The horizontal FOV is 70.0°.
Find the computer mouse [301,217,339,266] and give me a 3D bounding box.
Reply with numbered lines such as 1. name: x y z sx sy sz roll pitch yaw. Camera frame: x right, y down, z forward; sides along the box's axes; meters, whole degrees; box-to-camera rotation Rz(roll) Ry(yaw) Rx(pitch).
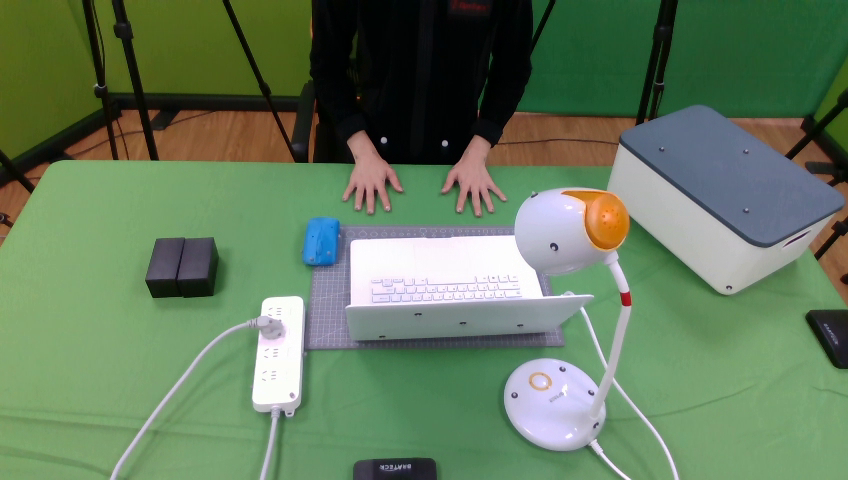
1. computer mouse: -0.200 -0.002 1.170 0.063 0.041 0.116 3 50 -3

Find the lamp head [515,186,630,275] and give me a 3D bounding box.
1. lamp head: 0.188 -0.013 0.728 0.112 0.112 0.122 -25 9 -25

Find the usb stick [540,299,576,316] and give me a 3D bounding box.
1. usb stick: 0.239 0.121 1.083 0.059 0.027 0.021 -1 51 -2

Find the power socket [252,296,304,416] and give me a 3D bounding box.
1. power socket: -0.238 0.181 0.997 0.072 0.033 0.225 -3 47 -5

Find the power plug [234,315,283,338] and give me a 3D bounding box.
1. power plug: -0.269 0.143 1.000 0.072 0.053 0.035 4 47 3

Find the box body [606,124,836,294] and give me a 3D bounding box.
1. box body: 0.584 -0.088 1.230 0.254 0.161 0.361 -22 52 -23

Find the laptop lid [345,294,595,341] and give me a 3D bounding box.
1. laptop lid: 0.059 0.124 0.934 0.357 0.242 0.013 -1 69 -7

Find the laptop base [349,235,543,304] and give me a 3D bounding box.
1. laptop base: 0.039 0.081 1.124 0.355 0.023 0.234 -2 43 -6

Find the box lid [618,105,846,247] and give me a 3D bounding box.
1. box lid: 0.587 -0.138 1.175 0.263 0.015 0.369 -22 50 -22

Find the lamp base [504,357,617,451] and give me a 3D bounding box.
1. lamp base: 0.220 0.211 0.902 0.160 0.181 0.178 -32 59 -30
